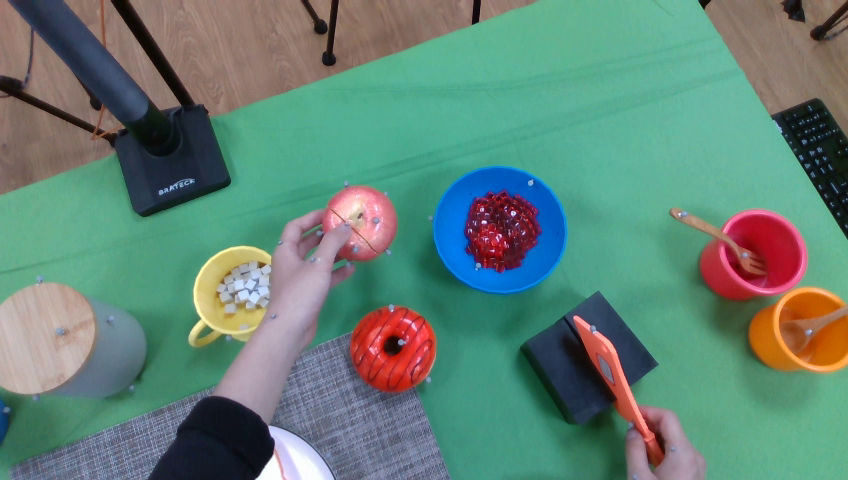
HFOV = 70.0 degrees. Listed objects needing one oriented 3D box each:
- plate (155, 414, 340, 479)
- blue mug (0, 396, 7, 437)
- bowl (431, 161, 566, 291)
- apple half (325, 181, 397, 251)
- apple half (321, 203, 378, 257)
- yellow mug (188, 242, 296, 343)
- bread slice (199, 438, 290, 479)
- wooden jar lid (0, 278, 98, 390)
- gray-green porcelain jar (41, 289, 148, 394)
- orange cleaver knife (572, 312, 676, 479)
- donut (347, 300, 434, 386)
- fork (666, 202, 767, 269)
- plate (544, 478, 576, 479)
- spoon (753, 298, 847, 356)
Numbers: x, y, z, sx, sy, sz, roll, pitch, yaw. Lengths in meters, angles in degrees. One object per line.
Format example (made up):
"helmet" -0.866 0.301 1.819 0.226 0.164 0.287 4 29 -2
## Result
"plate" -0.184 0.290 0.638 0.208 0.039 0.206 0 74 0
"blue mug" -0.524 0.203 0.632 0.082 0.106 0.116 41 78 11
"bowl" 0.083 -0.008 0.705 0.151 0.077 0.150 0 75 0
"apple half" -0.060 -0.032 0.652 0.080 0.075 0.053 40 83 11
"apple half" -0.086 -0.002 0.649 0.081 0.081 0.033 41 84 11
"yellow mug" -0.214 0.069 0.689 0.099 0.064 0.131 43 79 12
"bread slice" -0.177 0.292 0.638 0.107 0.018 0.133 -32 76 -8
"wooden jar lid" -0.368 0.091 0.588 0.108 0.021 0.107 0 72 1
"gray-green porcelain jar" -0.367 0.110 0.647 0.106 0.127 0.105 0 74 0
"orange cleaver knife" 0.210 0.169 0.638 0.012 0.077 0.212 -30 103 -8
"donut" -0.037 0.116 0.684 0.099 0.048 0.098 0 75 0
"fork" 0.326 -0.004 0.666 0.209 0.018 0.028 22 69 -37
"plate" 0.144 0.353 0.622 0.209 0.038 0.208 0 74 1
"spoon" 0.445 0.070 0.645 0.022 0.194 0.041 -11 66 -50
